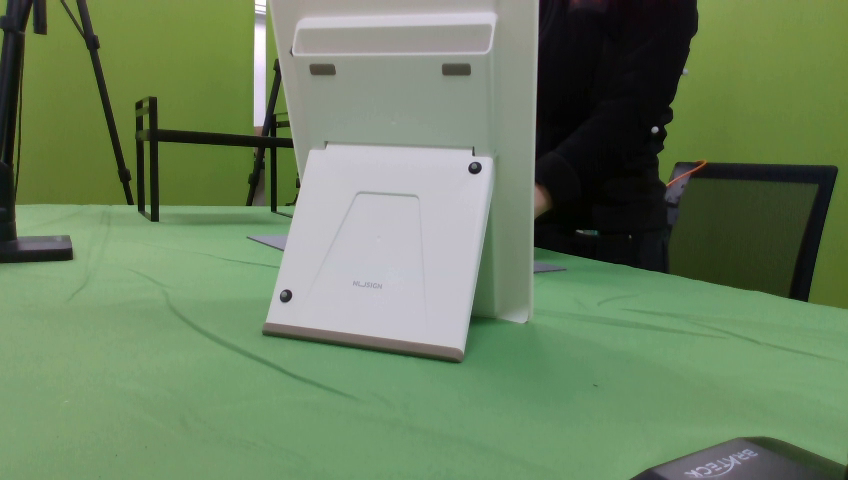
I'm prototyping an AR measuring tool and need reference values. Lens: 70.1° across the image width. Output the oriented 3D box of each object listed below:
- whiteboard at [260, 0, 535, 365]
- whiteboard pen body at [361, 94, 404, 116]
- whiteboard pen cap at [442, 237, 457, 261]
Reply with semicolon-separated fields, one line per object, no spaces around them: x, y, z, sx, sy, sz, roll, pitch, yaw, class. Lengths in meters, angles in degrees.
-0.037;-0.041;0.457;0.216;0.305;0.144;5;28;19;whiteboard
-0.076;-0.247;1.114;0.017;0.017;0.140;-4;26;-38;whiteboard pen body
0.036;0.013;0.853;0.018;0.033;0.018;12;0;0;whiteboard pen cap
